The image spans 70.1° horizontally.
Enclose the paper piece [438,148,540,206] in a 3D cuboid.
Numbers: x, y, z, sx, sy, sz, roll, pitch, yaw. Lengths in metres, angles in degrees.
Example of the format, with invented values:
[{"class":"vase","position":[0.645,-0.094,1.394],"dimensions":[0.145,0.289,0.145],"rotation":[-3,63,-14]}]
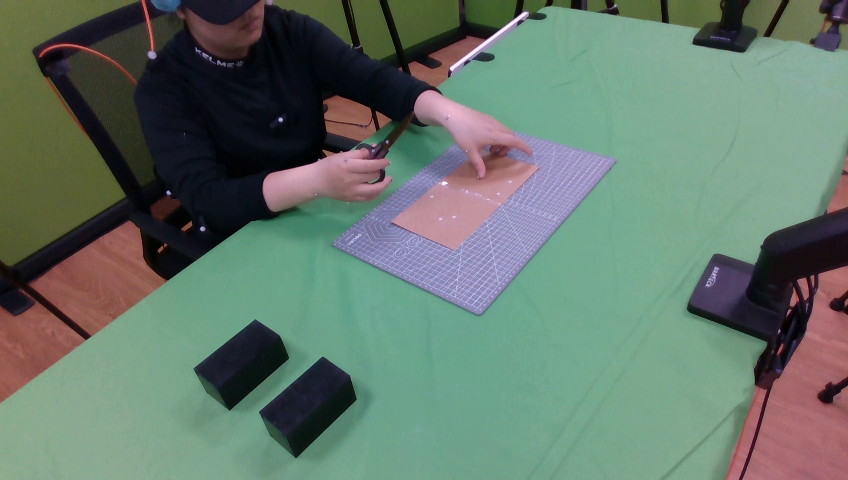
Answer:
[{"class":"paper piece","position":[0.118,-0.119,1.099],"dimensions":[0.135,0.009,0.138],"rotation":[27,50,28]}]

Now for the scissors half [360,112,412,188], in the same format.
[{"class":"scissors half","position":[-0.060,-0.144,0.980],"dimensions":[0.013,0.175,0.040],"rotation":[-21,66,-43]}]

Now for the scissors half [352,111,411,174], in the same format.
[{"class":"scissors half","position":[-0.070,-0.160,0.983],"dimensions":[0.013,0.174,0.040],"rotation":[-28,86,-45]}]

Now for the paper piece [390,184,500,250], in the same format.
[{"class":"paper piece","position":[0.036,-0.044,1.023],"dimensions":[0.134,0.004,0.136],"rotation":[24,49,31]}]
